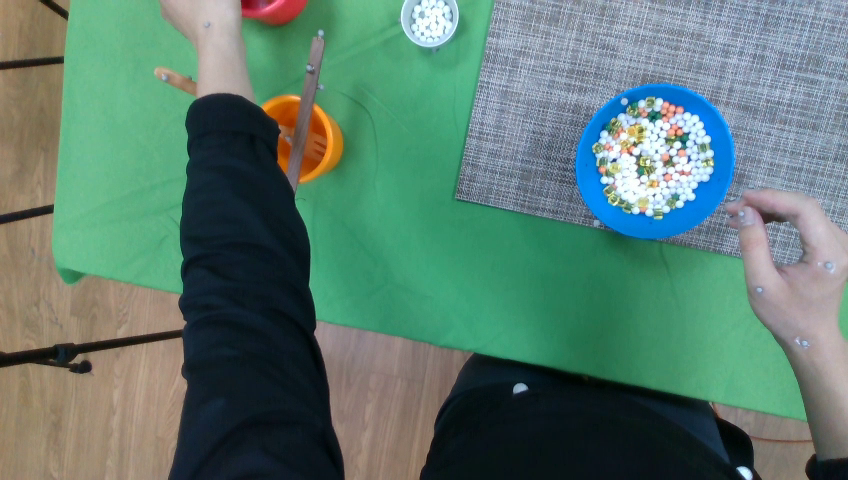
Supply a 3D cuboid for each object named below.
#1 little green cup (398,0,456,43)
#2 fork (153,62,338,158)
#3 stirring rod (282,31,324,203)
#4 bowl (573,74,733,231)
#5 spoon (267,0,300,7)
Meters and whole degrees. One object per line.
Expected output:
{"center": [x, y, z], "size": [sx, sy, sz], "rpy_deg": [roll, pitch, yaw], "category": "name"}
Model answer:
{"center": [0.005, -0.242, 0.652], "size": [0.061, 0.038, 0.061], "rpy_deg": [1, 99, 7], "category": "little green cup"}
{"center": [-0.178, -0.134, 0.634], "size": [0.209, 0.018, 0.028], "rpy_deg": [22, 106, -41], "category": "fork"}
{"center": [-0.126, -0.125, 0.626], "size": [0.014, 0.006, 0.176], "rpy_deg": [13, 99, 6], "category": "stirring rod"}
{"center": [0.226, -0.087, 0.626], "size": [0.151, 0.077, 0.151], "rpy_deg": [1, 98, 7], "category": "bowl"}
{"center": [-0.211, -0.299, 0.615], "size": [0.195, 0.021, 0.041], "rpy_deg": [21, 95, -41], "category": "spoon"}
